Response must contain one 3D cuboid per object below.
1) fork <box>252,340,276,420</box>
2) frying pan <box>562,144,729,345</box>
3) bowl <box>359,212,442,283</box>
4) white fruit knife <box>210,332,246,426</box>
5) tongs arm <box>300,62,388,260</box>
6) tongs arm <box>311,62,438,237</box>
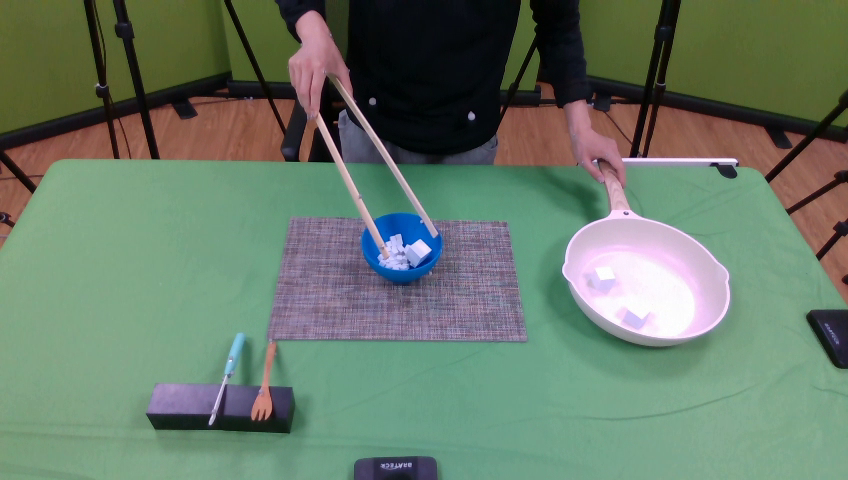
[{"bbox_3d":[-0.242,0.211,0.932,0.028,0.019,0.206,-8,27,-5],"label":"fork"},{"bbox_3d":[0.396,-0.008,1.179,0.307,0.103,0.484,1,55,-4],"label":"frying pan"},{"bbox_3d":[-0.044,0.026,1.125,0.151,0.077,0.150,2,46,-2],"label":"bowl"},{"bbox_3d":[-0.301,0.206,0.930,0.016,0.027,0.206,5,29,-7],"label":"white fruit knife"},{"bbox_3d":[-0.137,-0.143,1.068,0.051,0.026,0.383,-25,80,-23],"label":"tongs arm"},{"bbox_3d":[-0.088,-0.166,1.094,0.028,0.028,0.387,-32,84,-21],"label":"tongs arm"}]
